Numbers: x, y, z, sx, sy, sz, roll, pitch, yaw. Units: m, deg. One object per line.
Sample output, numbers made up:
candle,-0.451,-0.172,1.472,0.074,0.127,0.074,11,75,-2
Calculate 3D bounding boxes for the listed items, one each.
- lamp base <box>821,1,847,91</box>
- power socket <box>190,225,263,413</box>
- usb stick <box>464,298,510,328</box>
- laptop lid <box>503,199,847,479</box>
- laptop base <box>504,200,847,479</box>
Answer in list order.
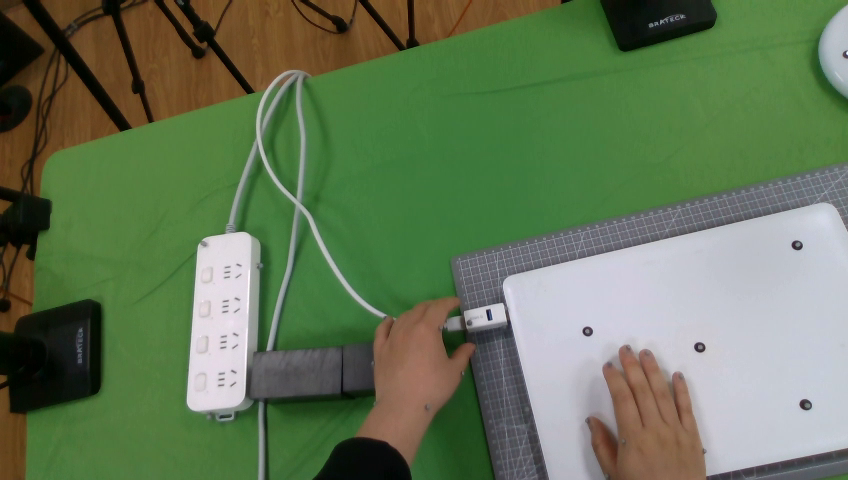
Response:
lamp base,0.523,-0.253,0.609,0.160,0.182,0.178,19,72,17
power socket,-0.231,0.086,0.716,0.072,0.033,0.225,-7,68,8
usb stick,0.074,0.077,0.652,0.059,0.027,0.021,-11,65,3
laptop lid,0.274,0.103,0.604,0.356,0.013,0.240,-12,71,7
laptop base,0.276,0.104,0.615,0.354,0.023,0.234,-14,71,6
